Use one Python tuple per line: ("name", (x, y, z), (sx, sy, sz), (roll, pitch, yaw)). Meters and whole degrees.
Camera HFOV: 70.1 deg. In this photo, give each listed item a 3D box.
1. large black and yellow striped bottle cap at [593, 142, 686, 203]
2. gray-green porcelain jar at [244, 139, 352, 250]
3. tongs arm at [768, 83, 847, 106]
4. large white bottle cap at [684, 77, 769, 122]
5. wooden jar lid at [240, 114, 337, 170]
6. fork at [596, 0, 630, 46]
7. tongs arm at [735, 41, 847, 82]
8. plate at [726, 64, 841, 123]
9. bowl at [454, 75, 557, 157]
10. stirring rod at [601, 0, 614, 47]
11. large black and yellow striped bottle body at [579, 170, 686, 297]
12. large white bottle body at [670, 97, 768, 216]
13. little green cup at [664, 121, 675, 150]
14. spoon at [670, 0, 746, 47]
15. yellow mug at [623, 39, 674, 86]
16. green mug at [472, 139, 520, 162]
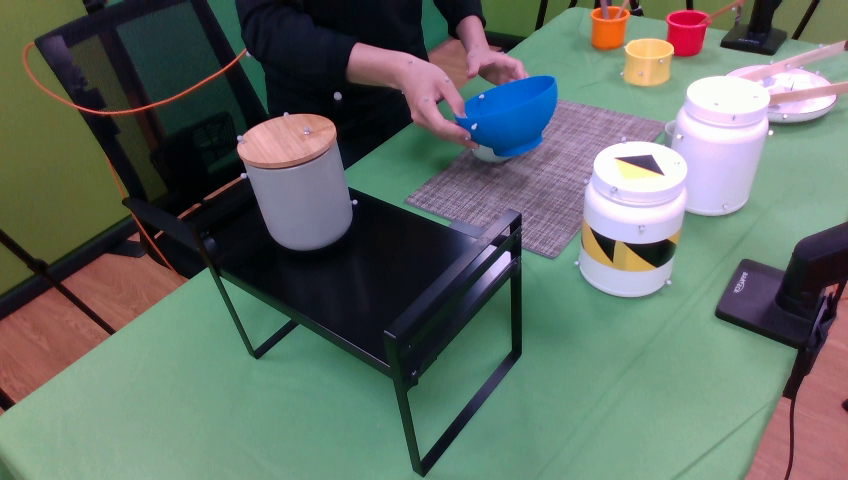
("large black and yellow striped bottle cap", (0.280, -0.090, 0.786), (0.115, 0.019, 0.114), (-5, 41, 5))
("gray-green porcelain jar", (-0.144, -0.060, 0.714), (0.106, 0.127, 0.105), (-4, 41, 4))
("tongs arm", (0.738, -0.281, 1.134), (0.388, 0.028, 0.028), (-9, 47, -5))
("large white bottle cap", (0.448, -0.210, 0.898), (0.115, 0.018, 0.114), (-4, 40, 4))
("wooden jar lid", (-0.149, -0.106, 0.673), (0.108, 0.021, 0.108), (-6, 38, 5))
("fork", (0.481, -0.556, 1.453), (0.028, 0.019, 0.207), (40, 103, 38))
("tongs arm", (0.712, -0.332, 1.194), (0.386, 0.026, 0.050), (-18, 45, -16))
("plate", (0.695, -0.282, 1.189), (0.207, 0.039, 0.206), (-4, 40, 4))
("bowl", (0.127, -0.173, 0.874), (0.151, 0.077, 0.151), (-18, 24, 9))
("stirring rod", (0.439, -0.552, 1.463), (0.014, 0.006, 0.175), (-7, 83, 3))
("large black and yellow striped bottle body", (0.287, -0.027, 0.841), (0.131, 0.185, 0.130), (-4, 40, 4))
("large white bottle body", (0.458, -0.146, 0.952), (0.130, 0.185, 0.130), (-4, 40, 4))
("little green cup", (0.472, -0.188, 1.113), (0.061, 0.039, 0.061), (-5, 40, 5))
("spoon", (0.629, -0.485, 1.350), (0.022, 0.193, 0.042), (48, 54, -7))
("yellow mug", (0.485, -0.398, 1.334), (0.100, 0.064, 0.130), (-18, 41, -10))
("green mug", (0.144, -0.202, 1.122), (0.093, 0.105, 0.124), (-29, 45, -23))
